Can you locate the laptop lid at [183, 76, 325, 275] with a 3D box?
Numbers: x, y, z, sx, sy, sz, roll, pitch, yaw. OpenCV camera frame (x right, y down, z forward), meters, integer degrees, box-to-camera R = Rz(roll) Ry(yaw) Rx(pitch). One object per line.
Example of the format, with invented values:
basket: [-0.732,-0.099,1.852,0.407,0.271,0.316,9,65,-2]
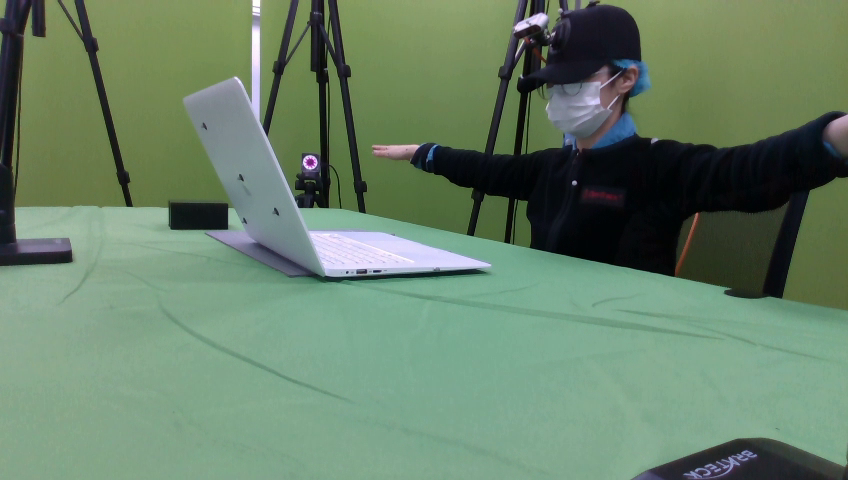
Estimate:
laptop lid: [-0.237,-0.085,0.791,0.013,0.242,0.355,-30,23,-23]

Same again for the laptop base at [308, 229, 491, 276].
laptop base: [-0.094,0.015,0.888,0.237,0.023,0.352,2,7,-30]

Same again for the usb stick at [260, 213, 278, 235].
usb stick: [-0.260,-0.025,1.016,0.021,0.027,0.059,1,19,-27]
